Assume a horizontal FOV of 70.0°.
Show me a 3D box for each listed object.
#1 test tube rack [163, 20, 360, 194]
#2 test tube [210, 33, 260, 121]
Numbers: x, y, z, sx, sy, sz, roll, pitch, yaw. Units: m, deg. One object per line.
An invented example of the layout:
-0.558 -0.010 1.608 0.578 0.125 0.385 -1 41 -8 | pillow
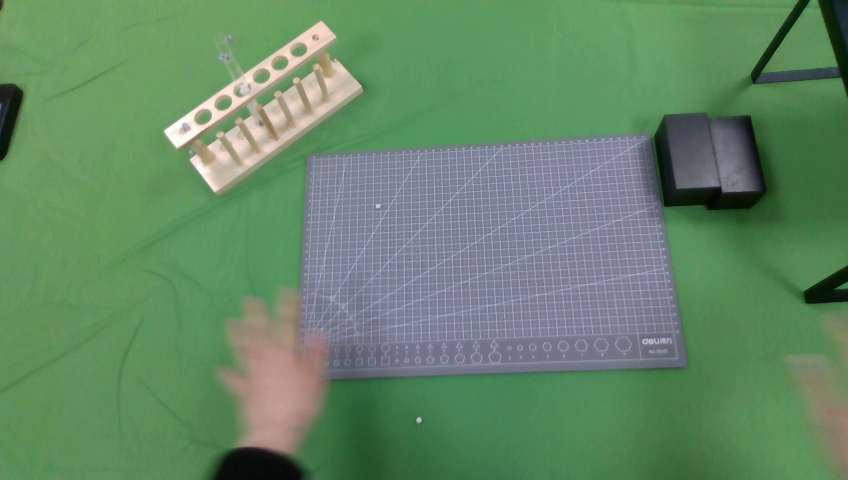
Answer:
-0.205 -0.173 0.793 0.242 0.086 0.066 -39 71 -9 | test tube rack
-0.230 -0.197 0.750 0.017 0.151 0.017 -1 64 3 | test tube
